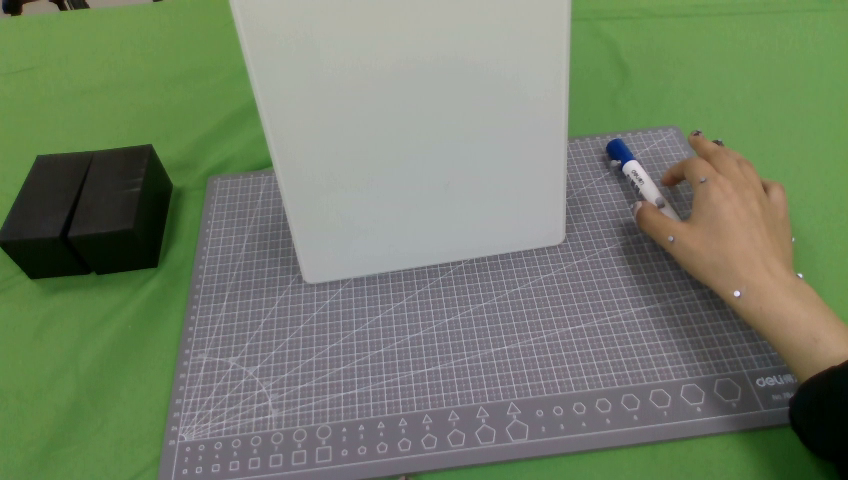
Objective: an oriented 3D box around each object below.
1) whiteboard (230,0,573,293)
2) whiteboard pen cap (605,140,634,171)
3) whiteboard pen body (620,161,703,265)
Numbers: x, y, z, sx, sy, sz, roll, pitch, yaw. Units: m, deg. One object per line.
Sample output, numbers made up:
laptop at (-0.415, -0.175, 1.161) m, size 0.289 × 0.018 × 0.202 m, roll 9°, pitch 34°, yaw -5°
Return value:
whiteboard at (-0.013, -0.138, 0.468) m, size 0.217 × 0.308 × 0.142 m, roll -8°, pitch 31°, yaw -3°
whiteboard pen cap at (0.178, -0.075, 0.551) m, size 0.018 × 0.018 × 0.033 m, roll -12°, pitch 49°, yaw -7°
whiteboard pen body at (0.193, -0.033, 0.512) m, size 0.017 × 0.017 × 0.139 m, roll -13°, pitch 49°, yaw -8°
